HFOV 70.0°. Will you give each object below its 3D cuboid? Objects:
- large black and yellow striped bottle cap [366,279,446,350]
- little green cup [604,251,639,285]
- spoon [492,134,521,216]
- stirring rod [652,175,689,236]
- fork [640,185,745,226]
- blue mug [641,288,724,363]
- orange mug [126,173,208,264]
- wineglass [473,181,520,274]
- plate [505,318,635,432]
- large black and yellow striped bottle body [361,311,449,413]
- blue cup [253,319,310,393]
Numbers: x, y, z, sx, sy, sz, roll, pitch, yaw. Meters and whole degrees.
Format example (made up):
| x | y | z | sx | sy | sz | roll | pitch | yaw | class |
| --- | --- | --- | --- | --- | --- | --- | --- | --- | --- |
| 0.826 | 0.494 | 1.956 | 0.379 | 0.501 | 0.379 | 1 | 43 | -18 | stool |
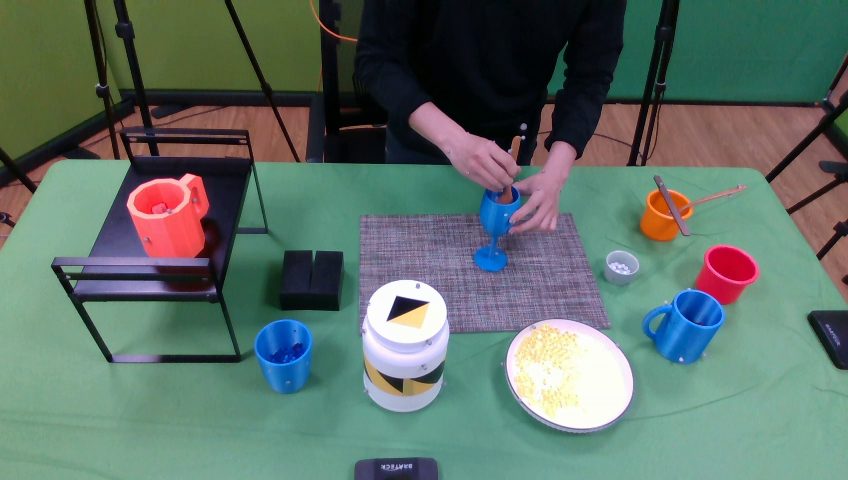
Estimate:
| x | y | z | sx | sy | sz | roll | pitch | yaw | class |
| --- | --- | --- | --- | --- | --- | --- | --- | --- | --- |
| -0.025 | 0.104 | 0.864 | 0.115 | 0.019 | 0.114 | 3 | 48 | -3 | large black and yellow striped bottle cap |
| 0.375 | 0.055 | 1.161 | 0.061 | 0.039 | 0.061 | 3 | 46 | -2 | little green cup |
| 0.146 | -0.107 | 1.042 | 0.041 | 0.195 | 0.021 | 10 | 47 | 7 | spoon |
| 0.491 | -0.072 | 1.211 | 0.014 | 0.006 | 0.175 | -1 | 47 | -5 | stirring rod |
| 0.534 | -0.069 | 1.215 | 0.207 | 0.019 | 0.028 | -26 | 27 | 33 | fork |
| 0.432 | 0.144 | 1.033 | 0.116 | 0.106 | 0.082 | 8 | 46 | 4 | blue mug |
| -0.371 | -0.039 | 0.902 | 0.083 | 0.101 | 0.126 | 18 | 52 | 13 | orange mug |
| 0.132 | -0.023 | 1.118 | 0.074 | 0.173 | 0.073 | 2 | 46 | -2 | wineglass |
| 0.235 | 0.221 | 0.991 | 0.209 | 0.038 | 0.208 | 2 | 45 | -2 | plate |
| -0.031 | 0.163 | 0.924 | 0.131 | 0.185 | 0.130 | 2 | 46 | -2 | large black and yellow striped bottle body |
| -0.217 | 0.187 | 0.943 | 0.093 | 0.101 | 0.092 | 4 | 45 | -3 | blue cup |
